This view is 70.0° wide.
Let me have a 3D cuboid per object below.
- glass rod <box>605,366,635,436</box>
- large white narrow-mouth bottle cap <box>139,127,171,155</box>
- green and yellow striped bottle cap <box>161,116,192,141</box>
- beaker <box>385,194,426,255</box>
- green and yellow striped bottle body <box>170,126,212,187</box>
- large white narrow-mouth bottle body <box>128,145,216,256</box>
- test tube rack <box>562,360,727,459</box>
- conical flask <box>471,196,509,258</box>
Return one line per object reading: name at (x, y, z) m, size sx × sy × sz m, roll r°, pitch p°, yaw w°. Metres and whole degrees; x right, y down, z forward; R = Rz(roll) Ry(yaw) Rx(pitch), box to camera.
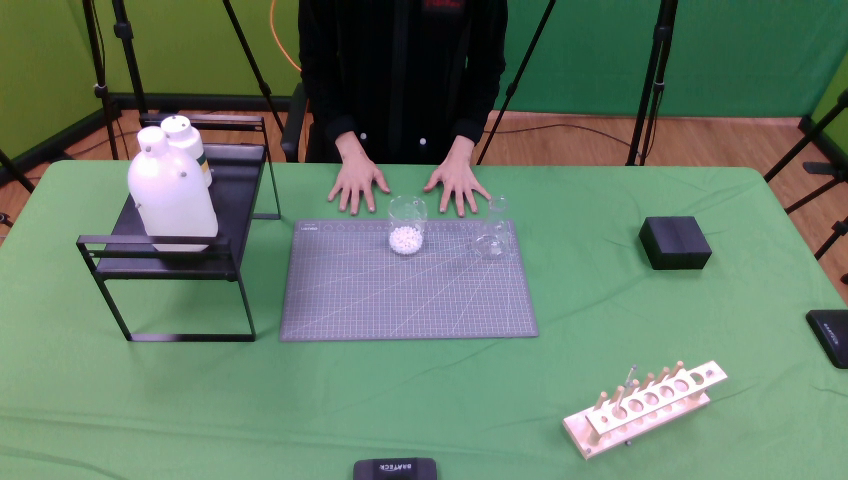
glass rod at (0.276, 0.233, 0.857) m, size 0.008 × 0.201 × 0.008 m, roll -2°, pitch 47°, yaw 2°
large white narrow-mouth bottle cap at (-0.358, -0.132, 0.807) m, size 0.038 × 0.024 × 0.037 m, roll 3°, pitch 47°, yaw -3°
green and yellow striped bottle cap at (-0.387, -0.174, 0.946) m, size 0.045 × 0.020 × 0.045 m, roll 3°, pitch 44°, yaw -3°
beaker at (-0.033, -0.026, 1.162) m, size 0.083 × 0.101 × 0.074 m, roll 29°, pitch 51°, yaw 21°
green and yellow striped bottle body at (-0.389, -0.139, 0.984) m, size 0.063 × 0.120 × 0.063 m, roll 2°, pitch 46°, yaw -2°
large white narrow-mouth bottle body at (-0.366, -0.073, 0.872) m, size 0.102 × 0.195 × 0.101 m, roll 3°, pitch 47°, yaw -3°
test tube rack at (0.341, 0.247, 0.940) m, size 0.243 × 0.085 × 0.066 m, roll -16°, pitch 49°, yaw -18°
conical flask at (0.133, -0.028, 1.160) m, size 0.075 × 0.122 × 0.075 m, roll 2°, pitch 46°, yaw -2°
